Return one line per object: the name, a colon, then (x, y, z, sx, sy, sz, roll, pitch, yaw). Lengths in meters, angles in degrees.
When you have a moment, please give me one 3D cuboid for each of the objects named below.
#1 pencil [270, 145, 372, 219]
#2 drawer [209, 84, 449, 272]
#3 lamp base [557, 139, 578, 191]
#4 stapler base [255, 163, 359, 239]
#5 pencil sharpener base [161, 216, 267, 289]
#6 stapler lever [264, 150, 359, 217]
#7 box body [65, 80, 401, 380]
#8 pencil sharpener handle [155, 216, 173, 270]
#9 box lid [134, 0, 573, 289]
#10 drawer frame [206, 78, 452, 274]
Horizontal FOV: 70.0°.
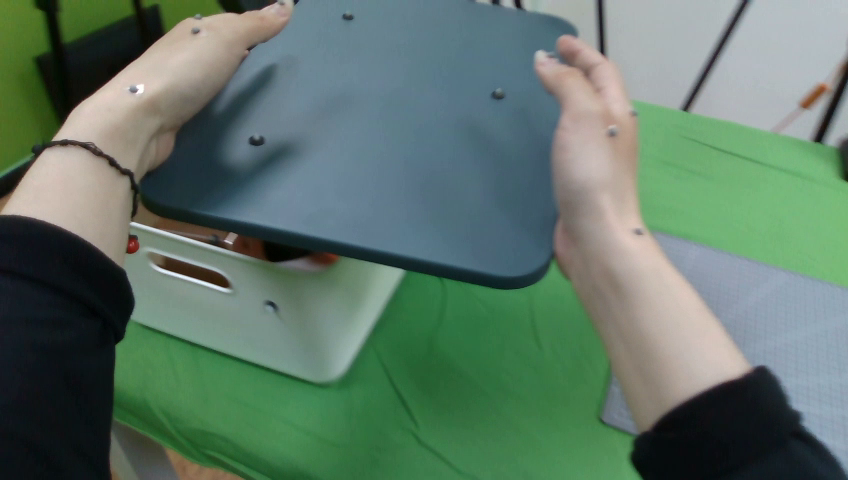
pencil: (-0.120, -0.067, 0.685, 0.012, 0.012, 0.192, -30, 49, -32)
drawer: (-0.096, -0.082, 0.682, 0.194, 0.073, 0.211, 25, 36, 5)
lamp base: (0.136, -0.177, 0.800, 0.161, 0.182, 0.177, 2, 38, -1)
stapler base: (-0.125, -0.048, 0.658, 0.130, 0.024, 0.041, 35, 35, 18)
pencil sharpener base: (-0.205, 0.017, 0.599, 0.076, 0.108, 0.061, 10, 41, 9)
stapler lever: (-0.119, -0.067, 0.644, 0.117, 0.040, 0.027, 36, 36, 17)
box body: (-0.131, -0.052, 0.651, 0.253, 0.162, 0.362, 16, 42, 13)
pencil sharpener handle: (-0.256, 0.002, 0.590, 0.030, 0.068, 0.036, 10, 9, 9)
box lid: (-0.020, -0.115, 0.479, 0.263, 0.015, 0.368, 12, 44, 5)
drawer frame: (-0.096, -0.083, 0.685, 0.201, 0.083, 0.212, 25, 35, 4)
